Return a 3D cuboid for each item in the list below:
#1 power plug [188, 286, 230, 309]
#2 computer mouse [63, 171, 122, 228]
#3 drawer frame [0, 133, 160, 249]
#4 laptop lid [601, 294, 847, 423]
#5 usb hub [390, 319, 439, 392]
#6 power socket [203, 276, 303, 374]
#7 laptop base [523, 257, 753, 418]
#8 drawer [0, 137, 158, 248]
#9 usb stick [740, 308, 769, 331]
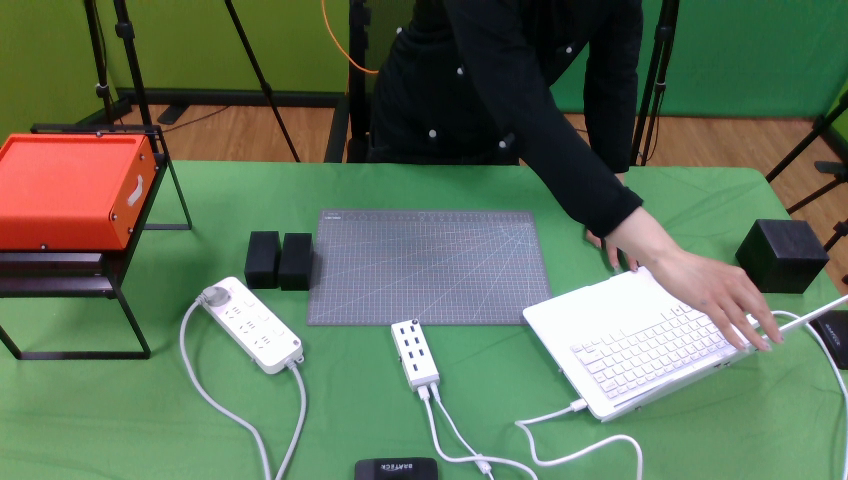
[{"bbox_3d":[-0.370,0.103,1.039,0.072,0.053,0.035,-26,54,-23],"label":"power plug"},{"bbox_3d":[-0.522,-0.067,0.955,0.063,0.041,0.116,1,49,-9],"label":"computer mouse"},{"bbox_3d":[-0.553,-0.078,0.942,0.214,0.083,0.200,-1,47,-4],"label":"drawer frame"},{"bbox_3d":[0.449,0.179,0.905,0.357,0.242,0.013,-17,64,-20],"label":"laptop lid"},{"bbox_3d":[-0.016,0.191,1.013,0.049,0.025,0.124,-11,48,-15],"label":"usb hub"},{"bbox_3d":[-0.296,0.141,1.034,0.225,0.033,0.072,37,55,27],"label":"power socket"},{"bbox_3d":[0.381,0.160,1.078,0.355,0.023,0.234,-17,47,-20],"label":"laptop base"},{"bbox_3d":[-0.549,-0.079,0.944,0.212,0.073,0.193,1,47,-4],"label":"drawer"},{"bbox_3d":[0.587,0.146,1.088,0.059,0.027,0.021,-22,47,-16],"label":"usb stick"}]
